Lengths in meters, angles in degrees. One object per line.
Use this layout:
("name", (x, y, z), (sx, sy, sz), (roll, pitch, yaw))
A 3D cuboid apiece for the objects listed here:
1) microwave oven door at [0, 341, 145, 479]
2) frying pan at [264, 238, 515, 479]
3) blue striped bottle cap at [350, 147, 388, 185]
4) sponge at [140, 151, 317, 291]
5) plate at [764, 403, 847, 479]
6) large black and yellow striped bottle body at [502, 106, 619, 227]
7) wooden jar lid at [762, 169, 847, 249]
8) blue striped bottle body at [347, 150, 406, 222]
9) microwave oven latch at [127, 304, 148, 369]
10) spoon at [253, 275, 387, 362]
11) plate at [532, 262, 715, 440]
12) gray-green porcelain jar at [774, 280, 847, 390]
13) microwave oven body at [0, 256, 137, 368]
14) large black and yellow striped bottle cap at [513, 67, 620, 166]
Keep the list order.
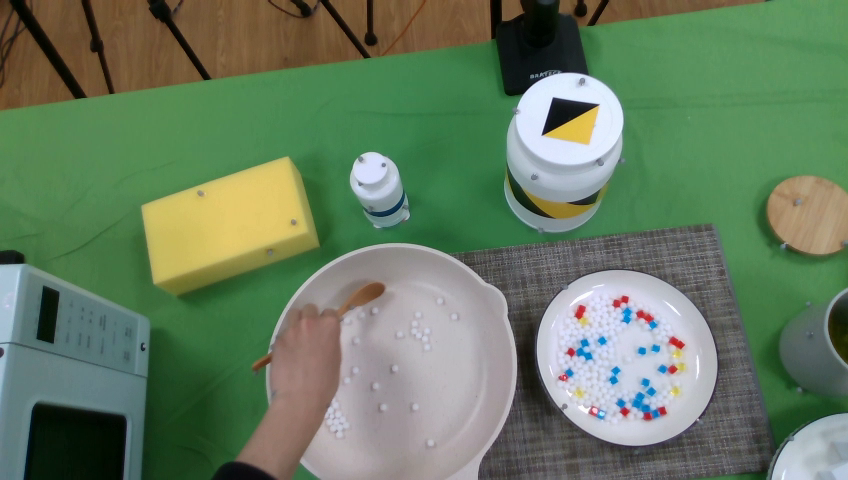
("microwave oven door", (-0.365, 0.295, 0.601), (0.039, 0.245, 0.353), (-7, 70, 3))
("frying pan", (0.008, 0.222, 0.678), (0.307, 0.103, 0.483), (-29, 63, -4))
("blue striped bottle cap", (-0.067, -0.090, 0.732), (0.044, 0.021, 0.044), (-3, 68, 7))
("sponge", (-0.261, -0.025, 0.815), (0.207, 0.061, 0.117), (-20, 70, -2))
("plate", (0.472, 0.282, 0.652), (0.207, 0.039, 0.206), (-2, 71, 5))
("large black and yellow striped bottle body", (0.162, -0.106, 0.737), (0.130, 0.185, 0.130), (-2, 70, 5))
("wooden jar lid", (0.485, -0.038, 0.769), (0.108, 0.021, 0.107), (-2, 73, 5))
("blue striped bottle body", (-0.061, -0.073, 0.780), (0.063, 0.121, 0.062), (-2, 71, 5))
("microwave oven latch", (-0.370, 0.123, 0.768), (0.030, 0.030, 0.078), (-5, 71, 4))
("spoon", (-0.119, 0.092, 0.725), (0.021, 0.042, 0.193), (41, 51, 19))
("plate", (0.233, 0.130, 0.723), (0.209, 0.038, 0.207), (-2, 71, 6))
("gray-green porcelain jar", (0.459, 0.108, 0.665), (0.106, 0.127, 0.105), (-2, 71, 5))
("microwave oven body", (-0.511, 0.273, 0.628), (0.326, 0.262, 0.438), (-6, 71, 3))
("large black and yellow striped bottle cap", (0.154, -0.135, 0.658), (0.115, 0.019, 0.114), (-1, 73, 5))
